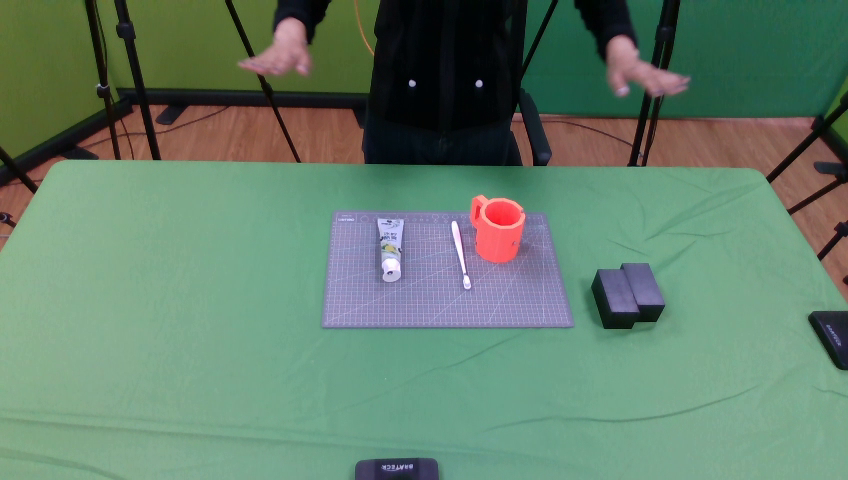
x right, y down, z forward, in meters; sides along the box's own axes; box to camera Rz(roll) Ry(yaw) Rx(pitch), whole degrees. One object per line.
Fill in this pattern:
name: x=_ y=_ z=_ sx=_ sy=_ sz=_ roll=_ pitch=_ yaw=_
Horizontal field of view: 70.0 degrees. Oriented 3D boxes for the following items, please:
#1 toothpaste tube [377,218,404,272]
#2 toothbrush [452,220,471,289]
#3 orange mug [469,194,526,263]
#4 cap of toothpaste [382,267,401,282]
toothpaste tube: x=-0.063 y=0.008 z=1.179 sx=0.055 sy=0.034 sz=0.164 roll=5 pitch=42 yaw=-9
toothbrush: x=0.071 y=0.024 z=1.180 sx=0.014 sy=0.017 sz=0.180 roll=-13 pitch=45 yaw=4
orange mug: x=0.136 y=-0.030 z=1.180 sx=0.083 sy=0.101 sz=0.125 roll=-26 pitch=58 yaw=-26
cap of toothpaste: x=-0.060 y=0.063 z=1.118 sx=0.037 sy=0.037 sz=0.011 roll=-9 pitch=50 yaw=-12
